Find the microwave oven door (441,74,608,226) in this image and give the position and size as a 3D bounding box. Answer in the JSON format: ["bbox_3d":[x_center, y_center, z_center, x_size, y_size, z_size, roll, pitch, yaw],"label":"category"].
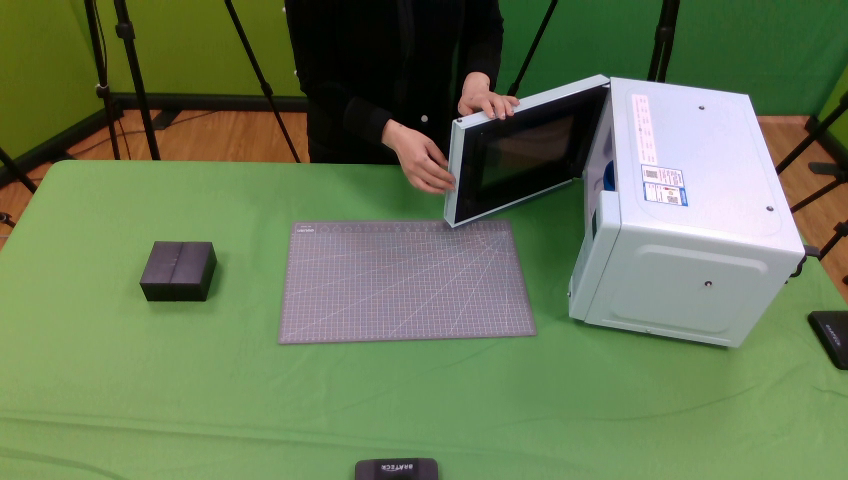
[{"bbox_3d":[0.202,-0.181,1.212,0.356,0.245,0.039,-22,52,-23],"label":"microwave oven door"}]

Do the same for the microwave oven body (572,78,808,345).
[{"bbox_3d":[0.455,-0.063,1.125,0.326,0.261,0.439,8,45,5],"label":"microwave oven body"}]

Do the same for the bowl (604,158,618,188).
[{"bbox_3d":[0.422,-0.094,1.195,0.151,0.077,0.150,4,48,-4],"label":"bowl"}]

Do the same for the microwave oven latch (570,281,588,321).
[{"bbox_3d":[0.276,0.105,1.083,0.030,0.029,0.079,9,45,6],"label":"microwave oven latch"}]
